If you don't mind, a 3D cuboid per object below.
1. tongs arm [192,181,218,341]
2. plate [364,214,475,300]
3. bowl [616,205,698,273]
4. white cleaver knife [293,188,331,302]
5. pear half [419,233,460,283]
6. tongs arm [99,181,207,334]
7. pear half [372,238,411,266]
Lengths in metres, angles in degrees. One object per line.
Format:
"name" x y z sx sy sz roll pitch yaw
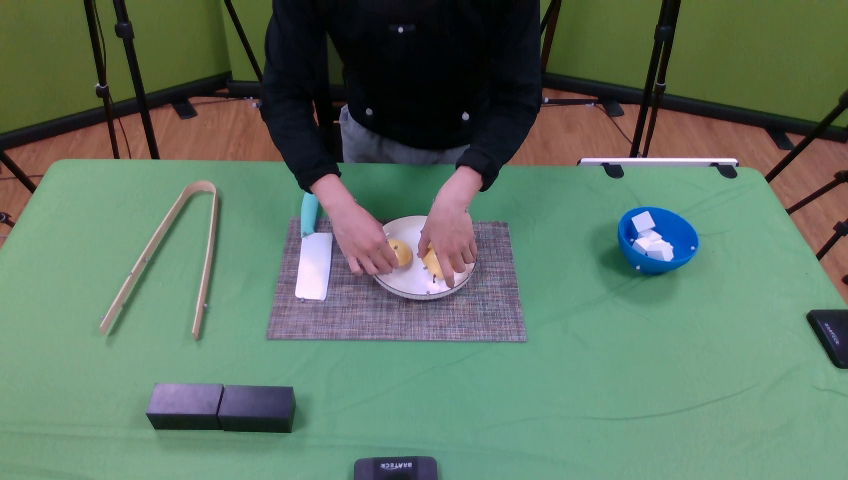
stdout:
"tongs arm" -0.413 0.025 1.140 0.028 0.028 0.385 -5 47 -7
"plate" -0.010 0.036 1.147 0.208 0.039 0.206 2 46 -2
"bowl" 0.443 0.010 1.182 0.151 0.077 0.150 2 46 -2
"white cleaver knife" -0.214 0.005 1.177 0.066 0.021 0.284 2 50 -9
"pear half" 0.029 0.032 1.123 0.076 0.056 0.109 13 44 -2
"tongs arm" -0.493 0.018 1.132 0.051 0.026 0.382 7 45 0
"pear half" -0.064 0.019 1.144 0.070 0.031 0.088 24 34 26
